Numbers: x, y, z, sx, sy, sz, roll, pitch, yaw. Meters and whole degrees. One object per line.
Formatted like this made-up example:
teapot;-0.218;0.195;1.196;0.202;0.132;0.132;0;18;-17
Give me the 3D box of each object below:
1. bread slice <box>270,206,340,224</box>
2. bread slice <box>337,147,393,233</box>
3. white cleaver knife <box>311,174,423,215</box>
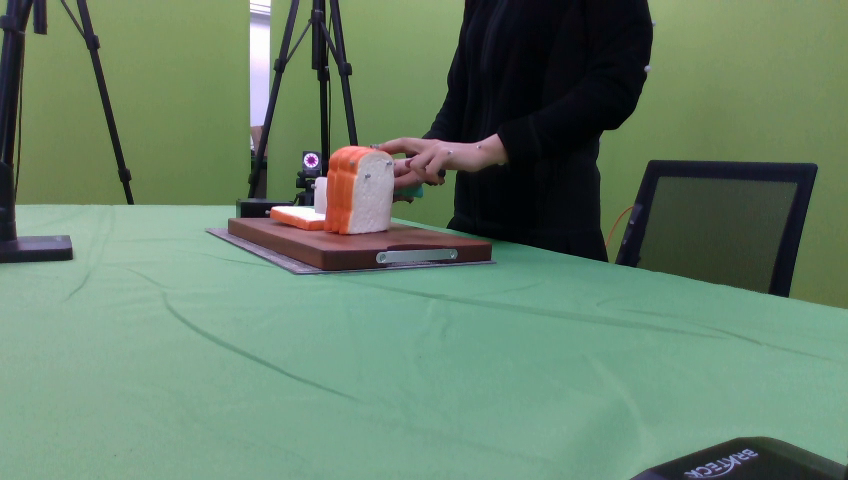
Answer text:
bread slice;-0.188;-0.041;1.001;0.133;0.018;0.107;11;9;44
bread slice;-0.085;-0.075;0.917;0.019;0.131;0.105;16;15;33
white cleaver knife;-0.089;-0.075;1.006;0.021;0.066;0.288;5;7;34
